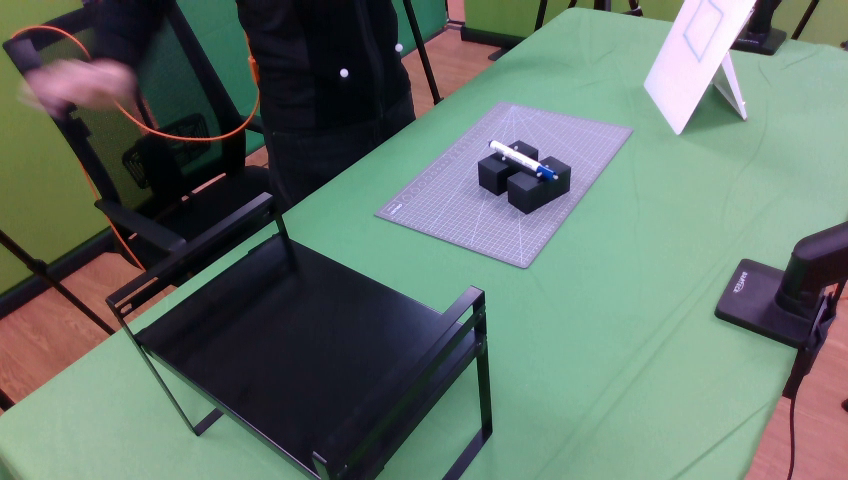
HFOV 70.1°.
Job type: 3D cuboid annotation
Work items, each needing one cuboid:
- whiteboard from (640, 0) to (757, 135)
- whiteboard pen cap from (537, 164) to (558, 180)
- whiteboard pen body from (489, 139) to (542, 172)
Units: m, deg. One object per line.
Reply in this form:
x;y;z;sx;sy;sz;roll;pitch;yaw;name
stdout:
0.576;-0.366;1.147;0.144;0.305;0.216;10;39;-10;whiteboard
0.203;-0.113;0.999;0.018;0.018;0.033;-33;49;-26;whiteboard pen cap
0.165;-0.141;1.032;0.017;0.017;0.139;-33;50;-27;whiteboard pen body
